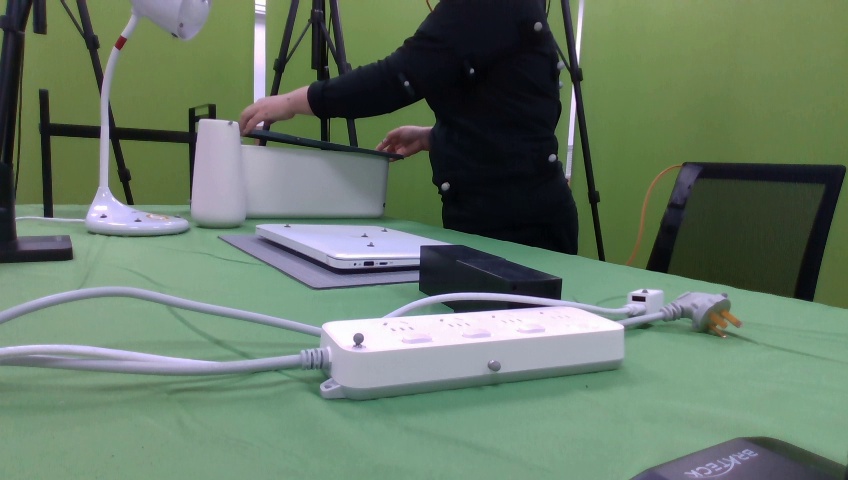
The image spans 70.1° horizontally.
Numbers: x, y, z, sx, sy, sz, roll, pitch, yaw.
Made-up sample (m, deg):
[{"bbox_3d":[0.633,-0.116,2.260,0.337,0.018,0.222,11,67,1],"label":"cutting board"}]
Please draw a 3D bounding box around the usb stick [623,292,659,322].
[{"bbox_3d":[0.211,0.064,0.581,0.021,0.027,0.059,-2,-3,36],"label":"usb stick"}]

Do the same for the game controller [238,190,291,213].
[{"bbox_3d":[-0.391,-0.094,1.466,0.097,0.051,0.154,-5,9,-29],"label":"game controller"}]

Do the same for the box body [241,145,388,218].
[{"bbox_3d":[-0.297,-0.143,1.474,0.366,0.160,0.253,-1,9,-30],"label":"box body"}]

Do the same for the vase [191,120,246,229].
[{"bbox_3d":[-0.389,-0.123,1.143,0.098,0.200,0.098,2,9,0],"label":"vase"}]

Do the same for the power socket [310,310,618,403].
[{"bbox_3d":[0.033,0.074,0.415,0.228,0.032,0.072,-1,7,-24],"label":"power socket"}]

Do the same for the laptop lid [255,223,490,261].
[{"bbox_3d":[-0.093,0.000,0.911,0.243,0.013,0.355,1,7,-30],"label":"laptop lid"}]

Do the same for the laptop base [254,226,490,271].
[{"bbox_3d":[-0.095,0.011,0.910,0.237,0.023,0.352,2,7,-32],"label":"laptop base"}]

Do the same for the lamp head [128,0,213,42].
[{"bbox_3d":[-0.423,-0.394,0.980,0.123,0.112,0.112,20,7,-3],"label":"lamp head"}]

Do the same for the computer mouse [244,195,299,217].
[{"bbox_3d":[-0.346,-0.077,1.372,0.118,0.041,0.062,-12,18,-33],"label":"computer mouse"}]

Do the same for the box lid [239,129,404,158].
[{"bbox_3d":[-0.261,-0.231,1.458,0.373,0.015,0.262,4,7,-32],"label":"box lid"}]

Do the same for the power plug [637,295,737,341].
[{"bbox_3d":[0.235,0.077,0.536,0.072,0.035,0.052,-34,40,-5],"label":"power plug"}]

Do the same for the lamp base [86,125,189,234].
[{"bbox_3d":[-0.497,-0.105,1.027,0.179,0.180,0.160,1,7,2],"label":"lamp base"}]

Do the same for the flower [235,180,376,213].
[{"bbox_3d":[-0.264,-0.091,1.416,0.364,0.038,0.044,8,-40,-39],"label":"flower"}]
